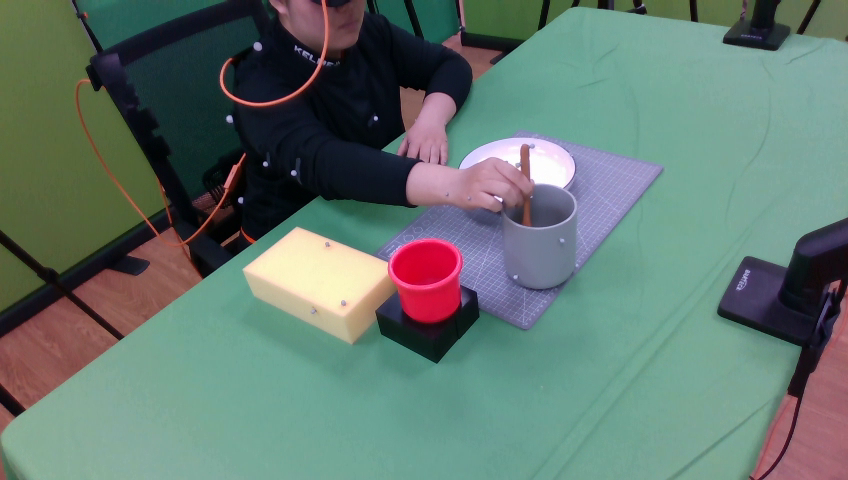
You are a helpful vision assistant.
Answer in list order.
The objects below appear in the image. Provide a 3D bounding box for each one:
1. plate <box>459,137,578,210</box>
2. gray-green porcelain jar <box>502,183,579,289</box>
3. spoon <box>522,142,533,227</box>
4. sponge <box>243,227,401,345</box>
[{"bbox_3d":[0.166,-0.113,1.068,0.207,0.039,0.206,-5,40,5],"label":"plate"},{"bbox_3d":[0.167,-0.001,0.866,0.106,0.127,0.105,-5,40,5],"label":"gray-green porcelain jar"},{"bbox_3d":[0.142,-0.047,0.830,0.041,0.194,0.022,10,36,25],"label":"spoon"},{"bbox_3d":[-0.153,0.063,0.907,0.205,0.061,0.118,19,48,30],"label":"sponge"}]
